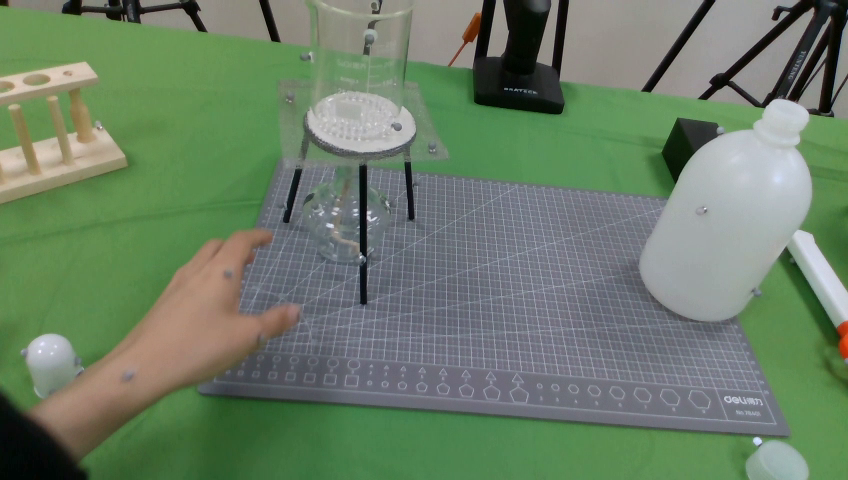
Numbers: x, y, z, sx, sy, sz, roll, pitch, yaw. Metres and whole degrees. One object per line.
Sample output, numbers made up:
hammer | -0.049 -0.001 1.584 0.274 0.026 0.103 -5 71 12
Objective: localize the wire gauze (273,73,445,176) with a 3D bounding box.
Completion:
wire gauze | -0.055 -0.097 0.476 0.122 0.011 0.123 -5 48 -13

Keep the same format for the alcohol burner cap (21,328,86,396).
alcohol burner cap | -0.255 0.081 0.413 0.034 0.048 0.033 7 42 -6

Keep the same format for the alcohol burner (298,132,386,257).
alcohol burner | -0.070 -0.043 0.526 0.078 0.120 0.077 7 41 -6

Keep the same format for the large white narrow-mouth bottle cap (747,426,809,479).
large white narrow-mouth bottle cap | 0.258 0.158 0.442 0.038 0.024 0.037 5 42 -4

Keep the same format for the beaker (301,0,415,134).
beaker | -0.053 -0.136 0.445 0.084 0.101 0.073 1 44 -10

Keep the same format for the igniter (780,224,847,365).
igniter | 0.386 0.081 0.545 0.057 0.025 0.274 15 41 -11

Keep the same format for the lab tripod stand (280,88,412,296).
lab tripod stand | -0.059 -0.047 0.519 0.149 0.132 0.147 7 43 -6

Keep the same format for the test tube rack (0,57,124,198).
test tube rack | -0.409 -0.084 0.532 0.243 0.086 0.066 -26 53 -33

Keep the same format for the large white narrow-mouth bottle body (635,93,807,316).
large white narrow-mouth bottle body | 0.258 -0.031 0.515 0.102 0.196 0.101 5 42 -4
